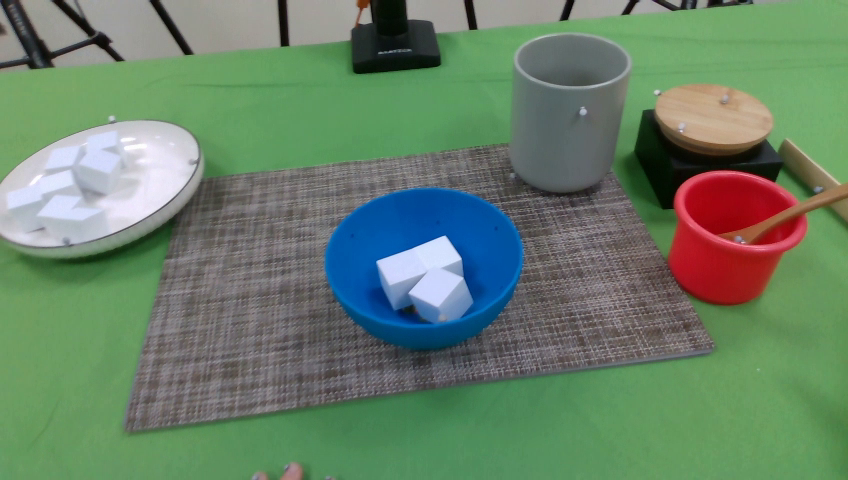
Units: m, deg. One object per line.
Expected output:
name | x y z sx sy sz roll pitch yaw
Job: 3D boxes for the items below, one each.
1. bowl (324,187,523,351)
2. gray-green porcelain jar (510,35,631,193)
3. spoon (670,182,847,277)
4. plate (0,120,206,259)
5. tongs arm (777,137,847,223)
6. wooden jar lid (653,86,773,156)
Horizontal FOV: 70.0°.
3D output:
bowl | 0.001 0.035 0.480 0.151 0.077 0.150 -2 44 2
gray-green porcelain jar | 0.138 -0.118 0.594 0.106 0.128 0.105 -2 44 2
spoon | 0.286 -0.017 0.473 0.022 0.193 0.041 38 41 -23
plate | -0.327 -0.052 0.624 0.209 0.038 0.207 -3 44 3
tongs arm | 0.424 0.028 0.499 0.028 0.028 0.383 -11 45 -11
wooden jar lid | 0.280 -0.116 0.592 0.108 0.021 0.107 -2 44 3
